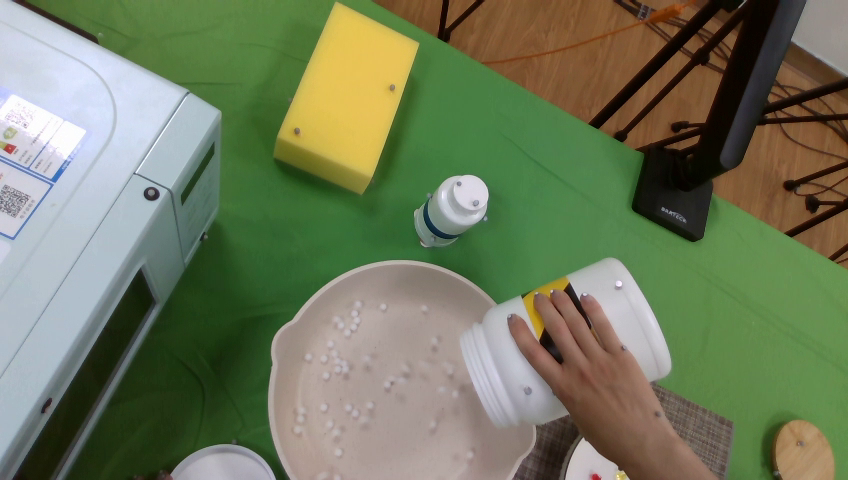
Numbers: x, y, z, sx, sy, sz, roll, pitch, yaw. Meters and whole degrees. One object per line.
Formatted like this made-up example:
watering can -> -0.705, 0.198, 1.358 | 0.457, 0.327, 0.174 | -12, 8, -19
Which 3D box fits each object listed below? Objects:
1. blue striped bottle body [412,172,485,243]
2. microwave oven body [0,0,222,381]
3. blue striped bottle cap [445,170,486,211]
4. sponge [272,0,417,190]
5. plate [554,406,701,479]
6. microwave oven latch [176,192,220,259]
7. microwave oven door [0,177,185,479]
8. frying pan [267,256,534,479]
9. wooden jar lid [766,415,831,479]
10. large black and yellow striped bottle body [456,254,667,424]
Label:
blue striped bottle body -> 0.031, -0.041, 0.732 | 0.063, 0.121, 0.062 | 5, 73, -18
microwave oven body -> -0.412, 0.038, 0.469 | 0.327, 0.260, 0.439 | 27, 68, -11
blue striped bottle cap -> 0.048, -0.056, 0.685 | 0.045, 0.020, 0.044 | 5, 74, -17
sponge -> -0.097, -0.182, 0.759 | 0.119, 0.061, 0.205 | 21, 69, -12
plate -> 0.249, 0.314, 0.748 | 0.210, 0.038, 0.208 | 6, 73, -18
microwave oven latch -> -0.249, -0.021, 0.651 | 0.030, 0.029, 0.079 | 29, 68, -10
microwave oven door -> -0.297, 0.138, 0.476 | 0.039, 0.244, 0.354 | 26, 67, -10
frying pan -> -0.056, 0.250, 0.623 | 0.308, 0.103, 0.484 | 25, 60, -9
wooden jar lid -> 0.533, 0.305, 0.866 | 0.109, 0.021, 0.108 | 5, 74, -17
large black and yellow striped bottle body -> 0.138, 0.107, 0.629 | 0.184, 0.131, 0.130 | -24, 82, 8
